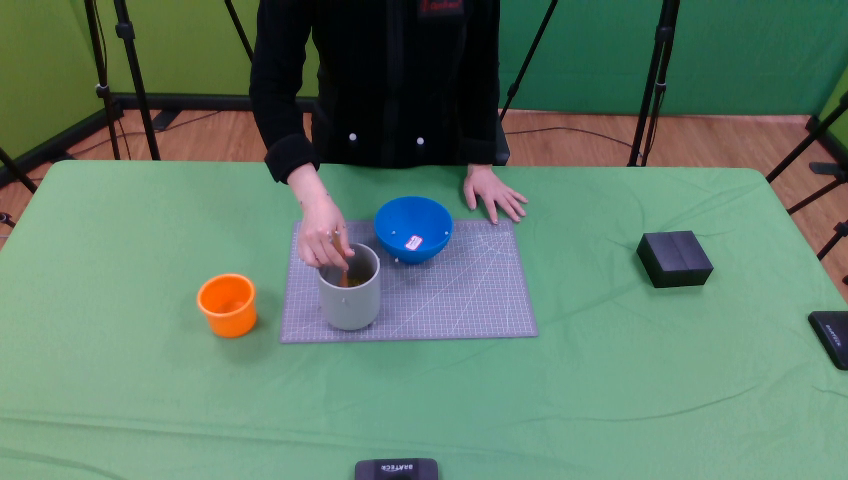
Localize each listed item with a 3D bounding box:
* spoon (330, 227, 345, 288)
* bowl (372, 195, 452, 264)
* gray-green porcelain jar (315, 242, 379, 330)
[{"bbox_3d":[-0.138,0.046,0.993,0.021,0.195,0.041,-25,52,-25],"label":"spoon"},{"bbox_3d":[-0.023,-0.008,1.161,0.151,0.077,0.150,2,46,-2],"label":"bowl"},{"bbox_3d":[-0.129,0.084,1.030,0.106,0.127,0.105,2,46,-2],"label":"gray-green porcelain jar"}]
